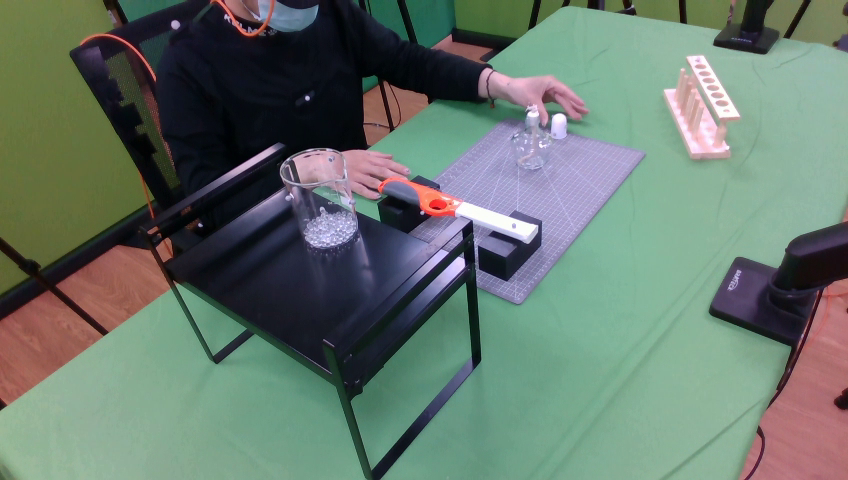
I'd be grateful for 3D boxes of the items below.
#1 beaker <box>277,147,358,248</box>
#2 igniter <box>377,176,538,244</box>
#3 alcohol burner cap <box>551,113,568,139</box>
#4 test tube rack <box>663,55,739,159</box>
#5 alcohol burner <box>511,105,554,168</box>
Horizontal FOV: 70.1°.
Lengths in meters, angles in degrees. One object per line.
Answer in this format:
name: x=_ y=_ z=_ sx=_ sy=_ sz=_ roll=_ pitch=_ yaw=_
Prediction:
beaker: x=-0.117 y=-0.046 z=0.705 sx=0.083 sy=0.101 sz=0.074 roll=17 pitch=47 yaw=25
igniter: x=0.046 y=-0.052 z=0.942 sx=0.274 sy=0.025 sz=0.057 roll=21 pitch=47 yaw=27
alcohol burner cap: x=0.263 y=-0.223 z=1.172 sx=0.034 sy=0.048 sz=0.033 roll=-5 pitch=40 yaw=4
test tube rack: x=0.518 y=-0.256 z=1.144 sx=0.066 sy=0.085 sz=0.241 roll=-1 pitch=41 yaw=8
alcohol burner: x=0.196 y=-0.190 z=1.088 sx=0.078 sy=0.119 sz=0.077 roll=-3 pitch=42 yaw=3
